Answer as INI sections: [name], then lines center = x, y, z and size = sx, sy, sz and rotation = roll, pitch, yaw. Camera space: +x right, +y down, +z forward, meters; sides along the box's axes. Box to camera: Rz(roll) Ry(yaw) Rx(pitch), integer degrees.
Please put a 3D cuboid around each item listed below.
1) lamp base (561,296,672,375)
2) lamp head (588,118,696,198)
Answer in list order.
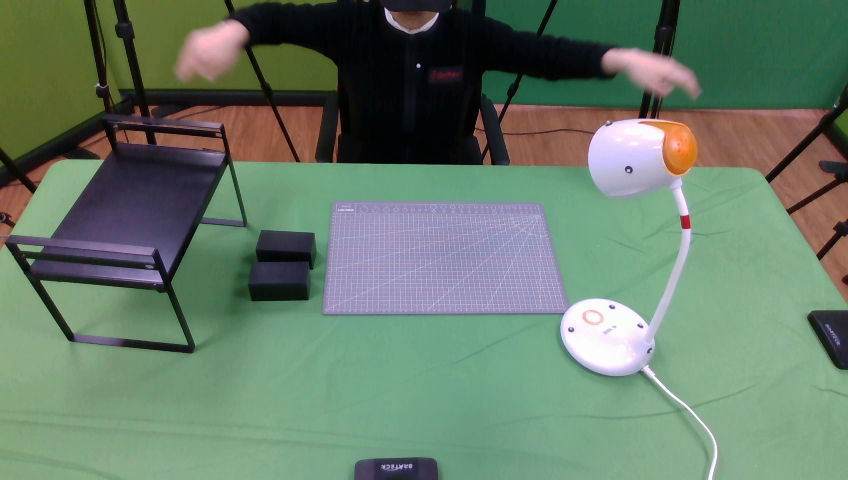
[lamp base]
center = 0.332, 0.119, 0.996
size = 0.160, 0.181, 0.178
rotation = -34, 59, -31
[lamp head]
center = 0.304, -0.113, 0.823
size = 0.112, 0.112, 0.122
rotation = -26, 16, -25
